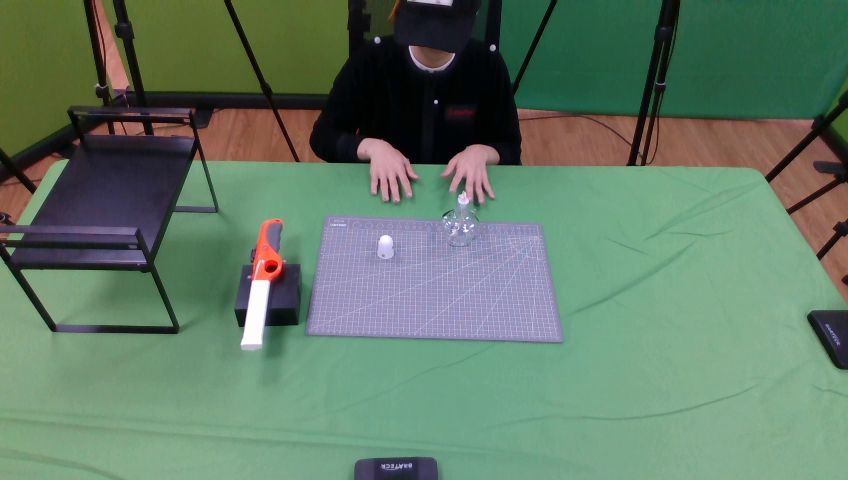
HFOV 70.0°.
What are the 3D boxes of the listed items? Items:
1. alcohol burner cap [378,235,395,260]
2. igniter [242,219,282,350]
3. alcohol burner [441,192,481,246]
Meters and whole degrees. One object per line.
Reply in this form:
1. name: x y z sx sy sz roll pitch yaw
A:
1. alcohol burner cap: -0.073 0.012 1.160 0.034 0.048 0.033 1 46 0
2. igniter: -0.277 0.065 1.044 0.057 0.025 0.274 1 48 -6
3. alcohol burner: 0.073 -0.046 1.176 0.078 0.119 0.077 2 44 -2
